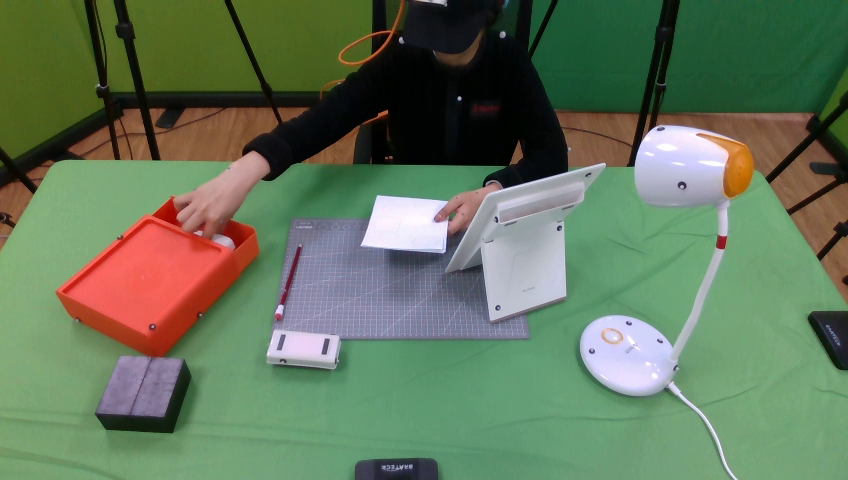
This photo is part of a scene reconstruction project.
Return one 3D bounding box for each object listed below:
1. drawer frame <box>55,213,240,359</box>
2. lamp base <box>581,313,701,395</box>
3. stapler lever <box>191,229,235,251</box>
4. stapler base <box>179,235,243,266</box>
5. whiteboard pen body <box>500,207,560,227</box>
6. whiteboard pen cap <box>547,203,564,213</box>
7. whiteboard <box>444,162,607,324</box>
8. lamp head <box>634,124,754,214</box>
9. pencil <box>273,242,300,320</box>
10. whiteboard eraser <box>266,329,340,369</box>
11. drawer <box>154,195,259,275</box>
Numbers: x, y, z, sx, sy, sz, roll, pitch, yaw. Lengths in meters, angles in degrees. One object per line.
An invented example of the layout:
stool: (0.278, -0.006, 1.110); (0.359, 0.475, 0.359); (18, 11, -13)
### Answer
drawer frame: (-0.469, 0.072, 1.050); (0.201, 0.083, 0.213); (21, 49, 14)
lamp base: (0.361, 0.144, 0.973); (0.178, 0.181, 0.160); (34, 53, 23)
stapler lever: (-0.404, 0.002, 1.123); (0.118, 0.040, 0.026); (19, 50, 15)
stapler base: (-0.402, 0.014, 1.137); (0.130, 0.024, 0.041); (14, 49, 21)
whiteboard pen body: (0.222, -0.051, 1.260); (0.141, 0.017, 0.017); (-15, 49, -16)
whiteboard pen cap: (0.277, -0.066, 1.275); (0.033, 0.018, 0.018); (-19, 50, -15)
whiteboard: (0.186, 0.025, 1.029); (0.217, 0.306, 0.143); (-15, 68, -18)
lamp head: (0.351, -0.089, 0.776); (0.112, 0.113, 0.122); (-30, 30, -28)
pencil: (-0.249, 0.071, 1.115); (0.012, 0.012, 0.193); (5, 43, 1)
whiteboard eraser: (-0.198, 0.181, 0.994); (0.113, 0.042, 0.055); (5, 45, 1)
drawer: (-0.442, 0.033, 1.093); (0.194, 0.073, 0.211); (21, 49, 14)
